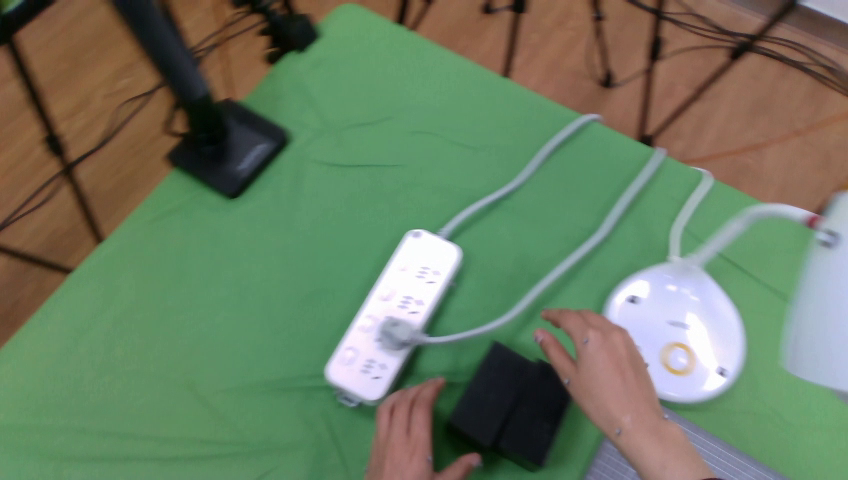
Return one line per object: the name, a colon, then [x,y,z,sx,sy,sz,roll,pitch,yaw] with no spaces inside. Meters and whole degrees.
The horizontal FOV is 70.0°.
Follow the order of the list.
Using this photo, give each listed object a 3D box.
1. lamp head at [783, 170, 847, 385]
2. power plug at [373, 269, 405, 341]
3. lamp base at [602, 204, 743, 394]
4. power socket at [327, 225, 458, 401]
lamp head: [0.268,0.018,0.345,0.112,0.112,0.122,0,88,0]
power plug: [-0.036,0.077,0.677,0.035,0.053,0.072,15,61,-16]
lamp base: [0.287,0.053,0.638,0.160,0.181,0.177,3,62,1]
power socket: [-0.033,0.079,0.701,0.072,0.033,0.226,26,66,10]
